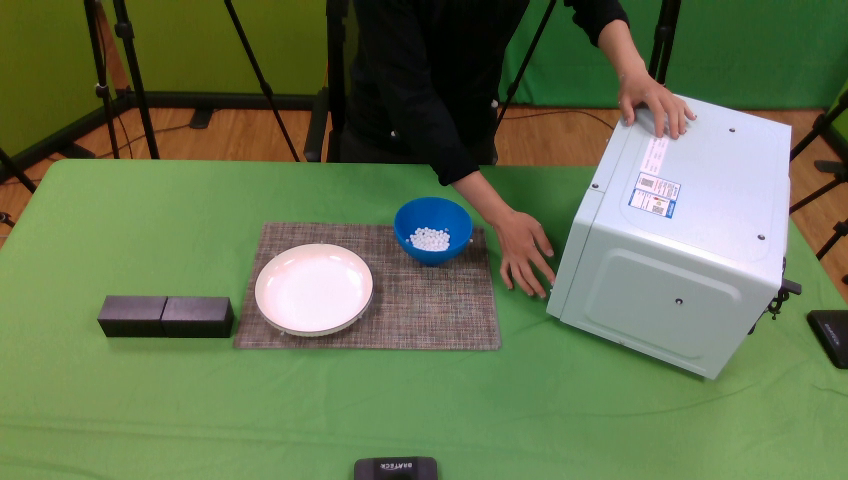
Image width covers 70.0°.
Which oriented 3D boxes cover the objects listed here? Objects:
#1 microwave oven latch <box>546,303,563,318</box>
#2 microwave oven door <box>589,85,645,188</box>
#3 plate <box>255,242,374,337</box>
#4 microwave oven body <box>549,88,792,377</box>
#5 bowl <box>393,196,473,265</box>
[{"bbox_3d":[0.242,0.102,1.081,0.030,0.029,0.079,21,47,16],"label":"microwave oven latch"},{"bbox_3d":[0.341,-0.107,1.149,0.039,0.245,0.354,20,48,15],"label":"microwave oven door"},{"bbox_3d":[-0.192,0.090,1.079,0.208,0.039,0.206,2,46,-2],"label":"plate"},{"bbox_3d":[0.456,-0.028,1.088,0.325,0.261,0.440,20,47,16],"label":"microwave oven body"},{"bbox_3d":[0.014,-0.005,1.159,0.151,0.077,0.150,2,46,-2],"label":"bowl"}]
